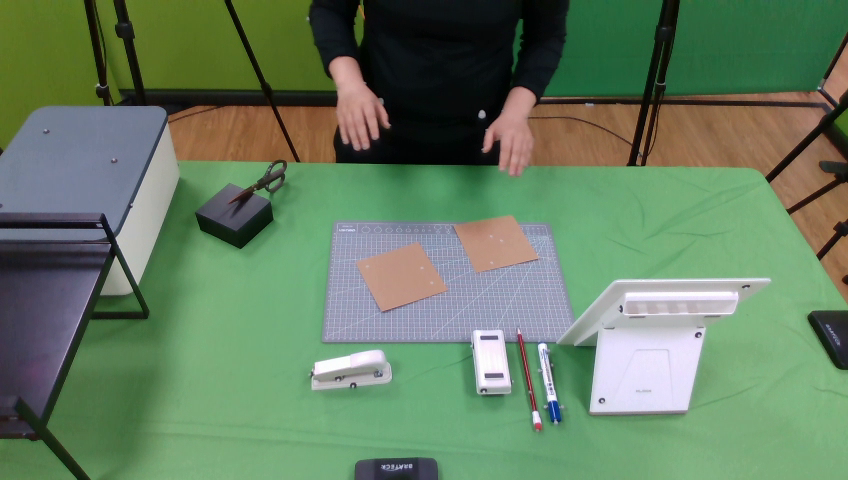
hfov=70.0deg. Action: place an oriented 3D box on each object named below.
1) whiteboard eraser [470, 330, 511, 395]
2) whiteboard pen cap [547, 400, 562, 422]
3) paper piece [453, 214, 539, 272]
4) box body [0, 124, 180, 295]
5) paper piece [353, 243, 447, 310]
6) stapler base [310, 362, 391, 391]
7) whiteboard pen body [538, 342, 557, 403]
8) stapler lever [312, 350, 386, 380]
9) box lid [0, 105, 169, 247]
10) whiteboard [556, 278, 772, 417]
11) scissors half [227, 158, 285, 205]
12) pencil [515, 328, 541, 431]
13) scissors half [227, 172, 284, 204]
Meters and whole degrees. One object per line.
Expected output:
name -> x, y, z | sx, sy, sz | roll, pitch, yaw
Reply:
whiteboard eraser -> 0.110, 0.202, 0.998 | 0.055, 0.042, 0.112 | 1, 46, -5
whiteboard pen cap -> 0.205, 0.269, 0.956 | 0.018, 0.018, 0.033 | 0, 47, -5
paper piece -> 0.142, 0.003, 1.213 | 0.135, 0.004, 0.135 | -11, 47, -14
box body -> -0.628, -0.075, 1.122 | 0.254, 0.161, 0.361 | 1, 46, -4
paper piece -> -0.045, 0.066, 1.137 | 0.136, 0.009, 0.137 | -14, 47, -22
stapler base -> -0.119, 0.215, 0.980 | 0.131, 0.024, 0.041 | -5, 44, -7
whiteboard pen body -> 0.205, 0.228, 0.997 | 0.017, 0.017, 0.140 | 1, 46, -3
stapler lever -> -0.120, 0.198, 0.963 | 0.118, 0.040, 0.026 | -4, 44, -8
box lid -> -0.624, -0.125, 1.067 | 0.263, 0.015, 0.369 | 0, 46, -3
whiteboard -> 0.347, 0.174, 0.903 | 0.217, 0.306, 0.143 | 1, 65, -4
scissors half -> -0.336, -0.117, 1.218 | 0.013, 0.040, 0.175 | 25, 47, 14
pencil -> 0.169, 0.224, 1.002 | 0.012, 0.012, 0.192 | -2, 46, -6
scissors half -> -0.339, -0.101, 1.231 | 0.013, 0.040, 0.175 | 21, 28, 17
